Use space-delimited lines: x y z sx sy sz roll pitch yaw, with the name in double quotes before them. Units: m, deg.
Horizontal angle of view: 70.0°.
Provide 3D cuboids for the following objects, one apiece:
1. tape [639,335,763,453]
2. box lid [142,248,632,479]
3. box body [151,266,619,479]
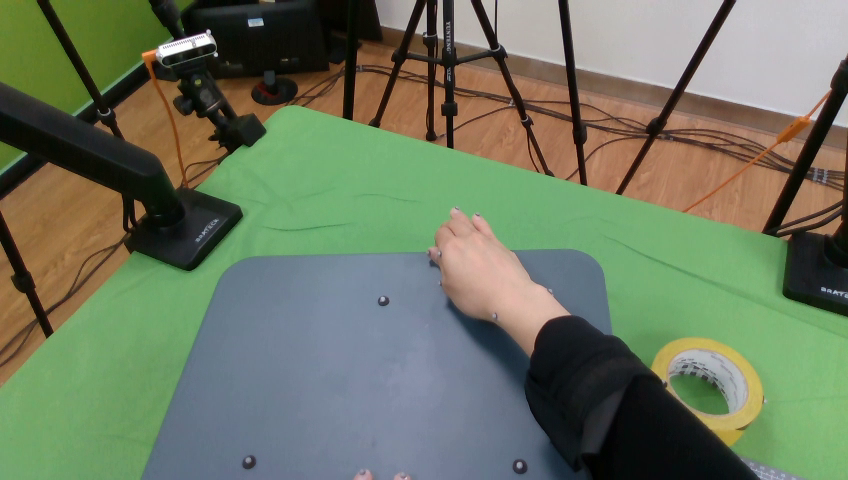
"tape" 0.292 0.161 0.648 0.117 0.053 0.115 0 47 1
"box lid" -0.026 0.113 0.505 0.371 0.015 0.261 -1 49 8
"box body" -0.021 0.176 0.576 0.364 0.162 0.251 1 49 5
